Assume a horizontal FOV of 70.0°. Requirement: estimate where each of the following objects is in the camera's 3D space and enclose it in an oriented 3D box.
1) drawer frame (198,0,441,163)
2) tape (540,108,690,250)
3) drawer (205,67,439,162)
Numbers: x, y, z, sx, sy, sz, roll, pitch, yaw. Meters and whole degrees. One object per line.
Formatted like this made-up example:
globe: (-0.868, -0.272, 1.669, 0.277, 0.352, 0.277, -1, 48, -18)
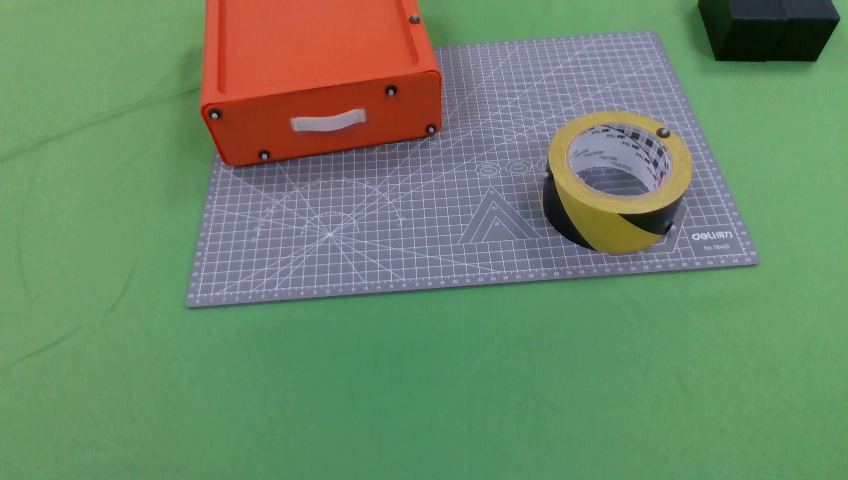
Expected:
drawer frame: (-0.102, -0.186, 0.581, 0.202, 0.083, 0.211, -11, 54, -5)
tape: (0.154, -0.050, 0.494, 0.117, 0.053, 0.115, -1, 55, 2)
drawer: (-0.101, -0.184, 0.580, 0.195, 0.074, 0.209, -11, 55, -4)
